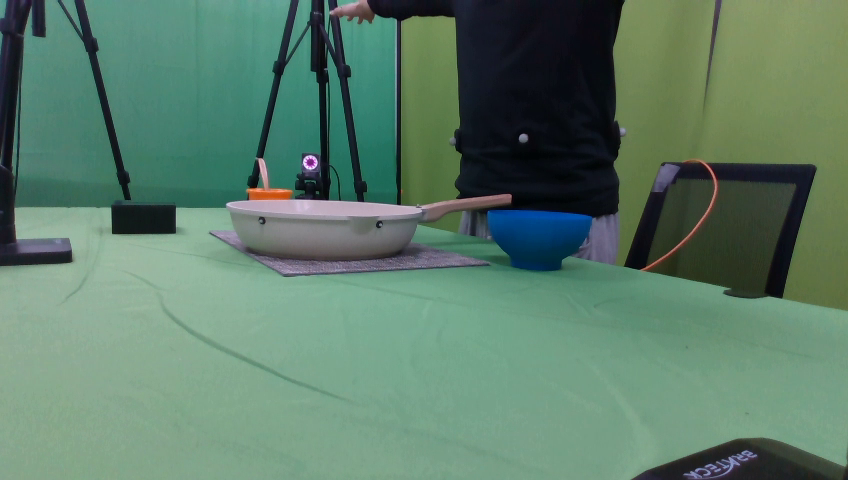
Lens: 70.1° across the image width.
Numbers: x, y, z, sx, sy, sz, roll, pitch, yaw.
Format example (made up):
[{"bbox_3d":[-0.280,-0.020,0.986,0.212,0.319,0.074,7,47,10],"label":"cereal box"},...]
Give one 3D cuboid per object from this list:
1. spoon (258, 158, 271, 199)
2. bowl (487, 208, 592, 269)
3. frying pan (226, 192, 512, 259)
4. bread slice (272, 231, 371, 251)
[{"bbox_3d":[-0.332,-0.107,1.269,0.042,0.021,0.193,0,53,-23],"label":"spoon"},{"bbox_3d":[0.164,-0.003,0.875,0.151,0.077,0.151,2,7,0],"label":"bowl"},{"bbox_3d":[-0.058,-0.041,0.975,0.490,0.102,0.305,-11,13,-26],"label":"frying pan"},{"bbox_3d":[-0.148,0.000,0.929,0.133,0.018,0.107,6,8,38],"label":"bread slice"}]
